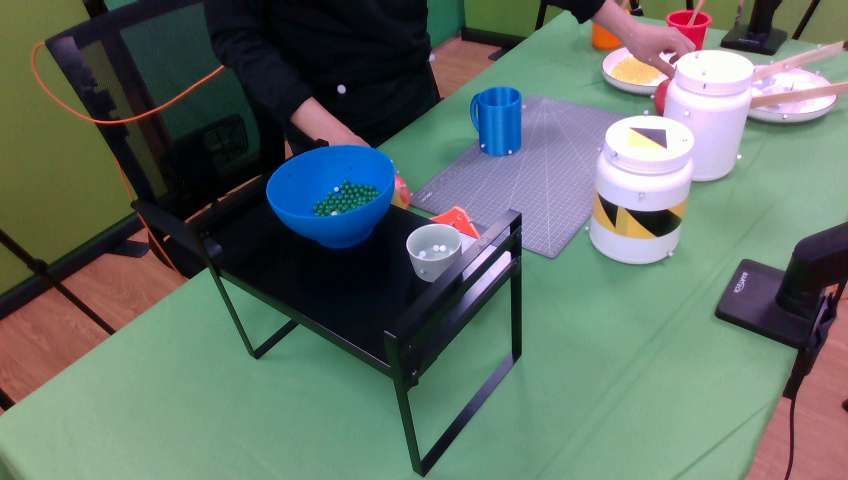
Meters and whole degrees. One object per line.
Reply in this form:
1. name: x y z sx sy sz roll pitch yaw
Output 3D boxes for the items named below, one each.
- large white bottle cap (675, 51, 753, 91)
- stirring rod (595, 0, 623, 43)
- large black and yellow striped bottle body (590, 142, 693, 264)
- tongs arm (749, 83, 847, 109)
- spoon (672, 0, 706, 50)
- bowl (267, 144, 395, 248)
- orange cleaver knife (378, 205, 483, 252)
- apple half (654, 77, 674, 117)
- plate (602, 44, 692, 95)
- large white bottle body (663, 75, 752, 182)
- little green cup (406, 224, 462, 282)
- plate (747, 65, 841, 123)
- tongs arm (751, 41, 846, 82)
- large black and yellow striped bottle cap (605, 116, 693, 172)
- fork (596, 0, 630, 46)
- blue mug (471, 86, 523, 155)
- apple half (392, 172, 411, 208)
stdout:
1. large white bottle cap: 0.463 -0.271 0.967 0.115 0.018 0.114 -4 40 4
2. stirring rod: 0.460 -0.556 1.459 0.014 0.006 0.176 30 93 23
3. large black and yellow striped bottle body: 0.317 -0.071 0.889 0.131 0.185 0.130 -4 41 4
4. tongs arm: 0.734 -0.281 1.133 0.388 0.028 0.028 -9 46 -5
5. spoon: 0.629 -0.520 1.394 0.041 0.022 0.193 29 97 34
6. bowl: -0.104 -0.043 0.726 0.151 0.077 0.150 -4 40 4
7. orange cleaver knife: 0.005 -0.010 0.944 0.210 0.077 0.012 -5 23 47
8. apple half: 0.486 -0.282 1.194 0.081 0.075 0.053 -28 34 -18
9. plate: 0.495 -0.367 1.317 0.209 0.038 0.208 -4 40 4
10. large white bottle body: 0.472 -0.207 1.022 0.130 0.185 0.130 -4 41 4
11. little green cup: 0.012 0.015 0.668 0.061 0.039 0.061 -4 40 4
12. plate: 0.695 -0.282 1.189 0.207 0.039 0.206 -4 40 4
13. tongs arm: 0.708 -0.331 1.194 0.386 0.026 0.050 -18 45 -16
14. large black and yellow striped bottle cap: 0.309 -0.134 0.833 0.115 0.019 0.114 -5 41 5
15. fork: 0.481 -0.556 1.452 0.028 0.019 0.207 40 103 40
16. blue mug: 0.135 -0.235 1.163 0.082 0.106 0.115 -36 48 -29
17. apple half: -0.048 -0.093 0.998 0.033 0.082 0.080 -45 51 -15
